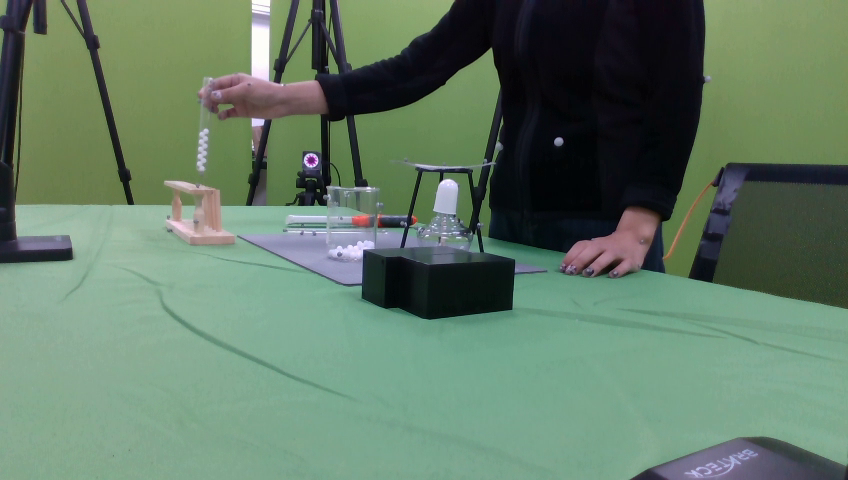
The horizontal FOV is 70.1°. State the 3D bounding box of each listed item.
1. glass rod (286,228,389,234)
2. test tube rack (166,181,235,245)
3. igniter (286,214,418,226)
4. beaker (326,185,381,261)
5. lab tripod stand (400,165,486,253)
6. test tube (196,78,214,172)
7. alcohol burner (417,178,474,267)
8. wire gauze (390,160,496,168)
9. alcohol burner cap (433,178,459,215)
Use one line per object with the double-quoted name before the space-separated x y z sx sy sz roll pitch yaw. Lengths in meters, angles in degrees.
"glass rod" -0.154 -0.016 1.101 0.201 0.008 0.008 1 6 -31
"test tube rack" -0.383 -0.051 1.024 0.067 0.085 0.241 -2 9 -31
"igniter" -0.146 -0.043 1.263 0.278 0.025 0.057 -1 -2 -24
"beaker" -0.100 -0.025 0.835 0.074 0.100 0.083 0 7 -23
"lab tripod stand" 0.027 -0.049 0.930 0.148 0.131 0.148 2 9 0
"test tube" -0.352 -0.184 0.971 0.017 0.150 0.017 6 3 0
"alcohol burner" 0.029 -0.024 0.810 0.078 0.119 0.078 1 8 0
"wire gauze" 0.027 -0.115 0.919 0.122 0.011 0.124 -4 10 -34
"alcohol burner cap" 0.031 -0.059 0.806 0.034 0.048 0.034 9 10 -1
